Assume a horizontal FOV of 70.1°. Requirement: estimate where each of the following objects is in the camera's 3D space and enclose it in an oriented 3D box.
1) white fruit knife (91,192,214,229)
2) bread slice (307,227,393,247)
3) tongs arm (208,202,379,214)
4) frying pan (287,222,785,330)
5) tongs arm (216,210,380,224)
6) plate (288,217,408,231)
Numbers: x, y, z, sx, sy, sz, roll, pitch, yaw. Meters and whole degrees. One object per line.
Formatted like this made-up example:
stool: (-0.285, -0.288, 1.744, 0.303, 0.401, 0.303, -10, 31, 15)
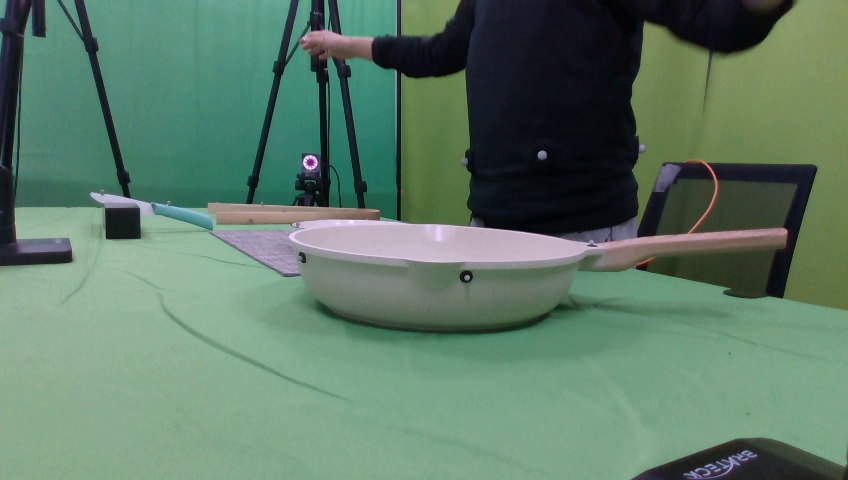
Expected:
white fruit knife: (-0.478, -0.055, 1.078, 0.208, 0.027, 0.016, 14, 1, -30)
bread slice: (-0.115, -0.006, 0.950, 0.134, 0.018, 0.107, 3, 6, -7)
tongs arm: (-0.296, -0.067, 1.406, 0.386, 0.026, 0.050, 0, 9, -22)
frying pan: (0.114, 0.016, 0.607, 0.488, 0.102, 0.307, -6, 8, 3)
tongs arm: (-0.261, -0.052, 1.335, 0.390, 0.028, 0.028, -3, 7, -34)
plate: (-0.109, -0.007, 0.956, 0.208, 0.039, 0.207, 2, 7, 0)
